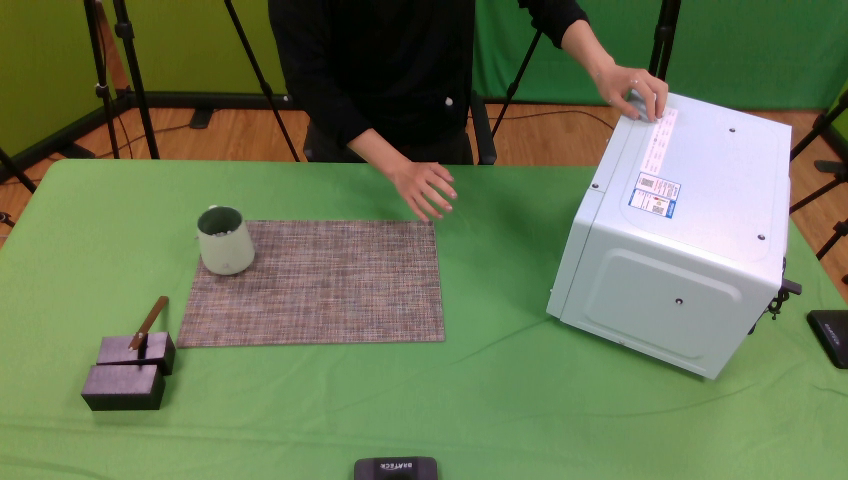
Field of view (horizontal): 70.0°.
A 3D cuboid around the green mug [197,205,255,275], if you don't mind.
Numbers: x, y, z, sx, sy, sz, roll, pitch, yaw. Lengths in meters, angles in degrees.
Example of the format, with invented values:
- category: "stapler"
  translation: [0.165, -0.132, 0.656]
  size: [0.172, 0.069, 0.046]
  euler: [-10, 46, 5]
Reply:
- category: "green mug"
  translation: [-0.370, -0.008, 1.114]
  size: [0.092, 0.105, 0.124]
  euler: [-19, 50, -20]

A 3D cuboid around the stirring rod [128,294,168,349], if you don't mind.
- category: "stirring rod"
  translation: [-0.451, 0.131, 0.996]
  size: [0.014, 0.006, 0.175]
  euler: [9, 20, -10]

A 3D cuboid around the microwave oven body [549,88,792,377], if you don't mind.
- category: "microwave oven body"
  translation: [0.456, -0.028, 1.088]
  size: [0.325, 0.261, 0.440]
  euler: [20, 47, 16]

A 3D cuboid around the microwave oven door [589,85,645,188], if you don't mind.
- category: "microwave oven door"
  translation: [0.342, -0.107, 1.149]
  size: [0.039, 0.245, 0.354]
  euler: [20, 48, 15]

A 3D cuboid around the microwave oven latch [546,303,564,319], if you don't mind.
- category: "microwave oven latch"
  translation: [0.242, 0.102, 1.081]
  size: [0.030, 0.029, 0.079]
  euler: [22, 48, 17]
